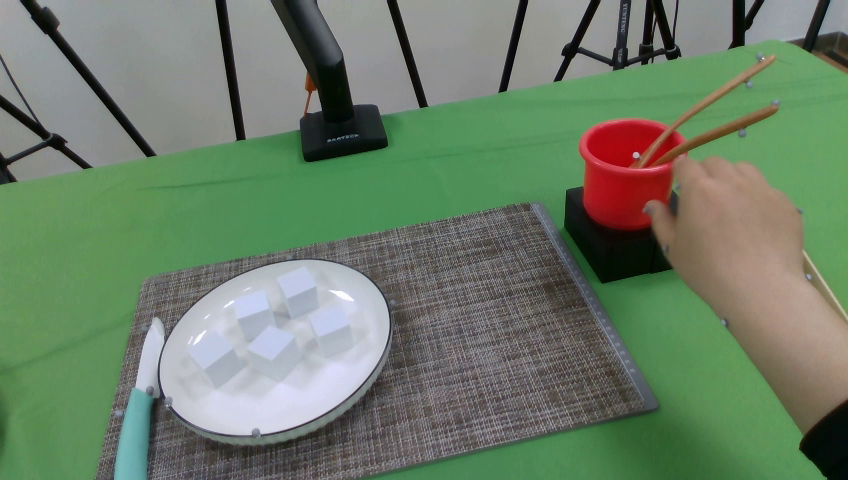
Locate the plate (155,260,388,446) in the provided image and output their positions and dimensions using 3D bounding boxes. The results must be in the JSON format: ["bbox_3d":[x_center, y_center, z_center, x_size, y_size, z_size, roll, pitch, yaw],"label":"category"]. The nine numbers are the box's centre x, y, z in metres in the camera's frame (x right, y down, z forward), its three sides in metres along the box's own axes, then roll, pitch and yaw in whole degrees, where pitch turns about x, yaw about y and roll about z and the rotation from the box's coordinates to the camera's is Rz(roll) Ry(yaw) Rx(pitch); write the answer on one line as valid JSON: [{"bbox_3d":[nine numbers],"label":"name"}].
[{"bbox_3d":[-0.134,0.101,0.556,0.207,0.039,0.205,-4,40,4],"label":"plate"}]

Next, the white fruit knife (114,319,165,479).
[{"bbox_3d":[-0.251,0.142,0.542,0.027,0.016,0.205,11,31,-24],"label":"white fruit knife"}]

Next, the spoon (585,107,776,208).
[{"bbox_3d":[0.219,-0.070,0.543,0.041,0.194,0.021,-36,89,-37],"label":"spoon"}]

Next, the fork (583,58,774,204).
[{"bbox_3d":[0.238,-0.101,0.578,0.207,0.019,0.028,-43,12,20],"label":"fork"}]

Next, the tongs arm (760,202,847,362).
[{"bbox_3d":[0.367,0.090,0.505,0.028,0.028,0.383,-3,40,2],"label":"tongs arm"}]
